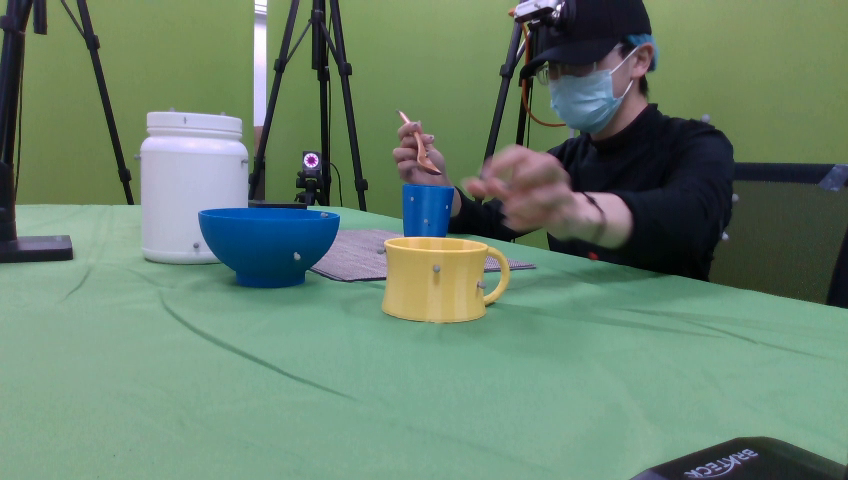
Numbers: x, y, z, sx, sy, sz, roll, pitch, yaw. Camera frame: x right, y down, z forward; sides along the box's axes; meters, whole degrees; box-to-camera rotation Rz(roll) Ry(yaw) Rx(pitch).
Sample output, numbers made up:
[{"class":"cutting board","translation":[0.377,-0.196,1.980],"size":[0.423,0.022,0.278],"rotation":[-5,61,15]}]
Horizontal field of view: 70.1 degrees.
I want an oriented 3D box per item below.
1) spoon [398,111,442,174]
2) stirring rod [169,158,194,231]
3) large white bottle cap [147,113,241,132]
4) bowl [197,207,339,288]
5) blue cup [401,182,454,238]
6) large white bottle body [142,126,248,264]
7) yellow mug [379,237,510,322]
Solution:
[{"class":"spoon","translation":[-0.011,-0.166,1.010],"size":[0.042,0.021,0.193],"rotation":[17,36,-34]},{"class":"stirring rod","translation":[-0.424,-0.082,1.060],"size":[0.014,0.006,0.175],"rotation":[2,50,-10]},{"class":"large white bottle cap","translation":[-0.297,-0.151,0.786],"size":[0.115,0.018,0.115],"rotation":[2,7,0]},{"class":"bowl","translation":[-0.171,0.008,0.671],"size":[0.151,0.077,0.151],"rotation":[2,7,0]},{"class":"blue cup","translation":[0.003,-0.038,0.966],"size":[0.093,0.100,0.092],"rotation":[4,9,0]},{"class":"large white bottle body","translation":[-0.300,-0.068,0.797],"size":[0.131,0.184,0.130],"rotation":[2,7,0]},{"class":"yellow mug","translation":[0.024,0.034,0.575],"size":[0.131,0.064,0.099],"rotation":[1,7,-22]}]
